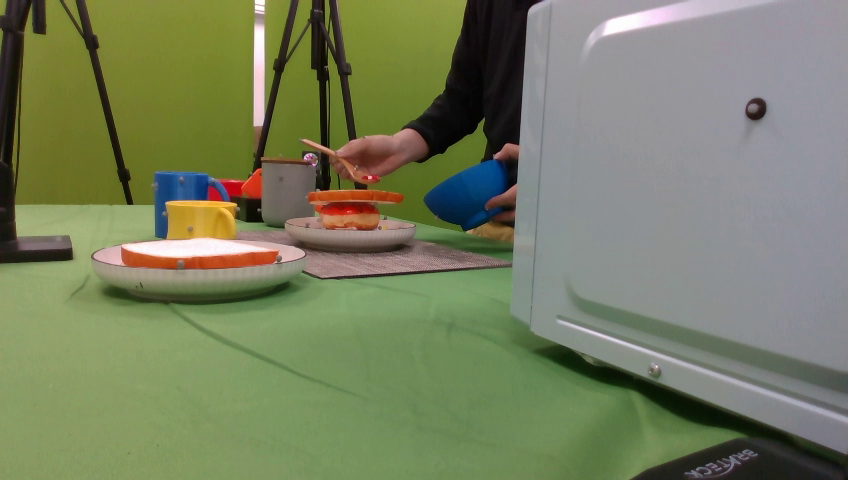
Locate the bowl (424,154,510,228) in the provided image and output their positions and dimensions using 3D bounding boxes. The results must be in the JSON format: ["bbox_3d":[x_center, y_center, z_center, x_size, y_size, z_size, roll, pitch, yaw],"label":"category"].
[{"bbox_3d":[0.083,-0.071,0.996,0.151,0.076,0.151,-26,-8,-4],"label":"bowl"}]

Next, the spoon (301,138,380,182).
[{"bbox_3d":[-0.149,-0.142,1.053,0.193,0.021,0.042,34,30,30],"label":"spoon"}]

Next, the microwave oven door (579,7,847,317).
[{"bbox_3d":[0.295,-0.067,0.570,0.358,0.243,0.039,-3,9,-31],"label":"microwave oven door"}]

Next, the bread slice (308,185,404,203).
[{"bbox_3d":[-0.114,-0.071,0.953,0.134,0.018,0.107,-2,0,21],"label":"bread slice"}]

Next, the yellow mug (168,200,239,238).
[{"bbox_3d":[-0.320,-0.023,0.904,0.130,0.064,0.100,9,11,36],"label":"yellow mug"}]

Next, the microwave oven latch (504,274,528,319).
[{"bbox_3d":[0.100,0.041,0.470,0.079,0.029,0.030,-1,7,-27],"label":"microwave oven latch"}]

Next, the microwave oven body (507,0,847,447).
[{"bbox_3d":[0.331,-0.042,0.425,0.444,0.260,0.324,-2,8,-31],"label":"microwave oven body"}]

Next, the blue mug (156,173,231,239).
[{"bbox_3d":[-0.381,-0.057,1.004,0.117,0.106,0.082,0,8,-12],"label":"blue mug"}]

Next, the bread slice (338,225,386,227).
[{"bbox_3d":[-0.103,-0.009,0.962,0.131,0.019,0.105,2,9,25],"label":"bread slice"}]

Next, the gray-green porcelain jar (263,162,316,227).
[{"bbox_3d":[-0.271,-0.092,1.217,0.106,0.126,0.106,2,7,0],"label":"gray-green porcelain jar"}]

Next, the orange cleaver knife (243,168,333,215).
[{"bbox_3d":[-0.300,-0.089,1.351,0.212,0.077,0.012,29,-9,-34],"label":"orange cleaver knife"}]

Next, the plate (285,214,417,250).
[{"bbox_3d":[-0.116,-0.014,0.964,0.209,0.038,0.209,2,7,0],"label":"plate"}]

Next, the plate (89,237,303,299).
[{"bbox_3d":[-0.233,0.029,0.636,0.208,0.039,0.207,2,7,0],"label":"plate"}]

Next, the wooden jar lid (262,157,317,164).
[{"bbox_3d":[-0.269,-0.154,1.208,0.108,0.020,0.108,3,4,0],"label":"wooden jar lid"}]

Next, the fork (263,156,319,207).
[{"bbox_3d":[-0.331,-0.144,1.505,0.207,0.018,0.028,-42,-21,22],"label":"fork"}]
